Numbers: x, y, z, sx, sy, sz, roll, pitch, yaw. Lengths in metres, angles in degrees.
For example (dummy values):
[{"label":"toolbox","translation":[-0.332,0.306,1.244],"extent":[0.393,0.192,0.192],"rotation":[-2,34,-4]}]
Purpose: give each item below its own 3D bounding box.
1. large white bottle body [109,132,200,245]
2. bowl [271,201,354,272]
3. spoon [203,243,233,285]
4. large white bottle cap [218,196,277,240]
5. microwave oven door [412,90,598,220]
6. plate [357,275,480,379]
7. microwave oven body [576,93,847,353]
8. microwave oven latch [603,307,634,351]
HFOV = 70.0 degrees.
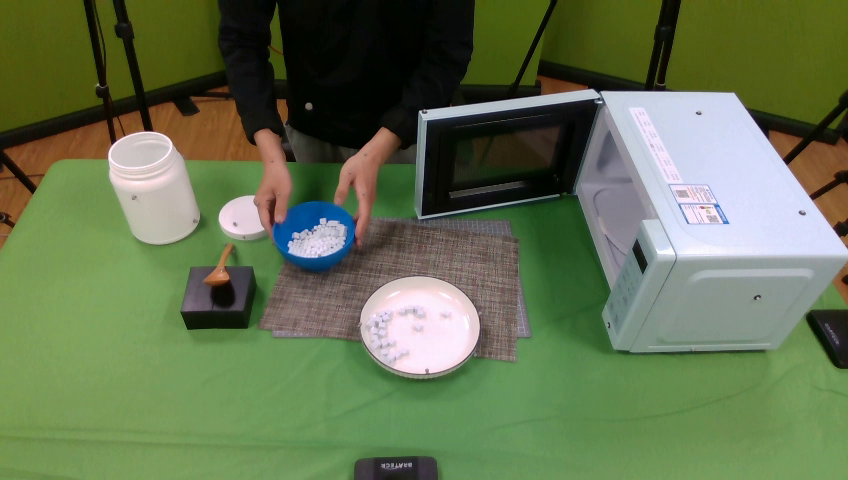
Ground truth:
[{"label":"large white bottle body","translation":[-0.506,-0.097,1.141],"extent":[0.131,0.185,0.130],"rotation":[2,46,-2]},{"label":"bowl","translation":[-0.206,0.006,1.134],"extent":[0.151,0.077,0.150],"rotation":[3,46,-3]},{"label":"spoon","translation":[-0.360,0.039,1.087],"extent":[0.041,0.022,0.192],"rotation":[-6,24,-6]},{"label":"large white bottle cap","translation":[-0.354,-0.045,1.220],"extent":[0.115,0.018,0.114],"rotation":[1,45,-1]},{"label":"microwave oven door","translation":[0.156,-0.167,1.200],"extent":[0.356,0.245,0.039],"rotation":[-10,47,-14]},{"label":"plate","translation":[-0.009,0.151,1.038],"extent":[0.209,0.038,0.208],"rotation":[2,47,-2]},{"label":"microwave oven body","translation":[0.475,-0.041,1.109],"extent":[0.326,0.261,0.438],"rotation":[-1,45,-4]},{"label":"microwave oven latch","translation":[0.332,0.153,1.044],"extent":[0.030,0.029,0.078],"rotation":[0,45,-4]}]
